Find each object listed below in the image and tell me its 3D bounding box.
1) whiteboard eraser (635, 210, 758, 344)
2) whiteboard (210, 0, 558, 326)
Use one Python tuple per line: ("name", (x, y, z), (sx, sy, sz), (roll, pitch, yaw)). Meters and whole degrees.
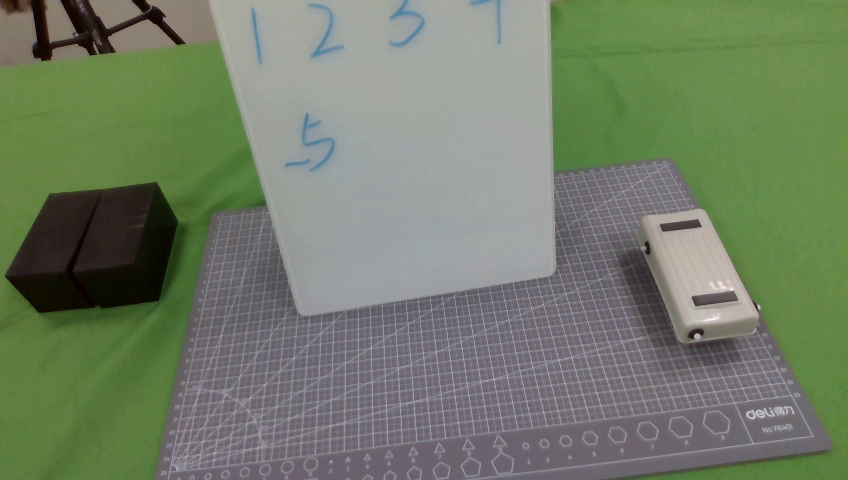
("whiteboard eraser", (0.206, 0.028, 0.468), (0.055, 0.042, 0.111), (-6, 47, 1))
("whiteboard", (-0.021, -0.112, 0.484), (0.217, 0.308, 0.142), (-9, 28, -1))
